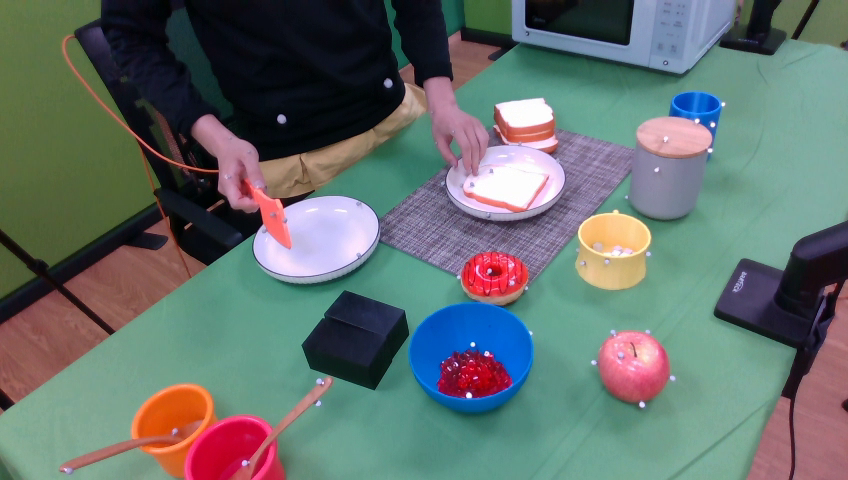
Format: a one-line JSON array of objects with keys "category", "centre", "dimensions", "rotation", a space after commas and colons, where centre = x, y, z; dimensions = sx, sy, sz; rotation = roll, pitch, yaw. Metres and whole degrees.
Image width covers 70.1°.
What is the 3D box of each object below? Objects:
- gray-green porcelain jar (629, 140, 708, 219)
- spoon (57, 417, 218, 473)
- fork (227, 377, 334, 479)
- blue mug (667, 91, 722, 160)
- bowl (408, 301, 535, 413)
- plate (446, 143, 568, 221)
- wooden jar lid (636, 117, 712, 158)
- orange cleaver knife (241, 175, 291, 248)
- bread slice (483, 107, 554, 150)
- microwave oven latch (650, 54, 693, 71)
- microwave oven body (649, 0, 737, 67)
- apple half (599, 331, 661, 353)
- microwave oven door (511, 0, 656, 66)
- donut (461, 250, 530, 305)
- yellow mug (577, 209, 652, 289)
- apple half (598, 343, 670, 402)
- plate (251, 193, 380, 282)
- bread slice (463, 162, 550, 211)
[{"category": "gray-green porcelain jar", "centre": [0.383, -0.105, 0.958], "dimensions": [0.106, 0.127, 0.105], "rotation": [-4, 41, 4]}, {"category": "spoon", "centre": [-0.304, 0.221, 0.661], "dimensions": [0.041, 0.195, 0.021], "rotation": [19, 92, 27]}, {"category": "fork", "centre": [-0.163, 0.216, 0.647], "dimensions": [0.207, 0.019, 0.028], "rotation": [-49, 41, 16]}, {"category": "blue mug", "centre": [0.474, -0.207, 1.079], "dimensions": [0.082, 0.106, 0.116], "rotation": [4, 42, 13]}, {"category": "bowl", "centre": [0.060, 0.156, 0.739], "dimensions": [0.151, 0.077, 0.150], "rotation": [-4, 40, 4]}, {"category": "plate", "centre": [0.142, -0.097, 1.045], "dimensions": [0.207, 0.039, 0.206], "rotation": [-4, 40, 4]}, {"category": "wooden jar lid", "centre": [0.377, -0.151, 0.917], "dimensions": [0.108, 0.021, 0.108], "rotation": [-2, 41, 3]}, {"category": "orange cleaver knife", "centre": [-0.229, -0.045, 0.872], "dimensions": [0.012, 0.077, 0.209], "rotation": [-17, 26, -25]}, {"category": "bread slice", "centre": [0.186, -0.203, 1.161], "dimensions": [0.105, 0.019, 0.130], "rotation": [-22, 44, -6]}, {"category": "microwave oven latch", "centre": [0.531, -0.386, 1.301], "dimensions": [0.078, 0.029, 0.030], "rotation": [26, 51, 33]}, {"category": "microwave oven body", "centre": [0.475, -0.602, 1.411], "dimensions": [0.438, 0.261, 0.327], "rotation": [23, 50, 32]}, {"category": "apple half", "centre": [0.249, 0.134, 0.738], "dimensions": [0.081, 0.081, 0.032], "rotation": [-2, 46, 7]}, {"category": "microwave oven door", "centre": [0.350, -0.539, 1.349], "dimensions": [0.353, 0.245, 0.039], "rotation": [24, 50, 31]}, {"category": "donut", "centre": [0.103, 0.053, 0.872], "dimensions": [0.099, 0.048, 0.098], "rotation": [-5, 40, 4]}, {"category": "yellow mug", "centre": [0.279, 0.004, 0.893], "dimensions": [0.099, 0.064, 0.130], "rotation": [5, 41, 15]}, {"category": "apple half", "centre": [0.247, 0.161, 0.710], "dimensions": [0.081, 0.075, 0.053], "rotation": [2, 47, 5]}, {"category": "plate", "centre": [-0.174, -0.001, 0.984], "dimensions": [0.209, 0.038, 0.208], "rotation": [-4, 40, 3]}, {"category": "bread slice", "centre": [0.136, -0.094, 1.045], "dimensions": [0.133, 0.018, 0.107], "rotation": [15, 44, 23]}]
